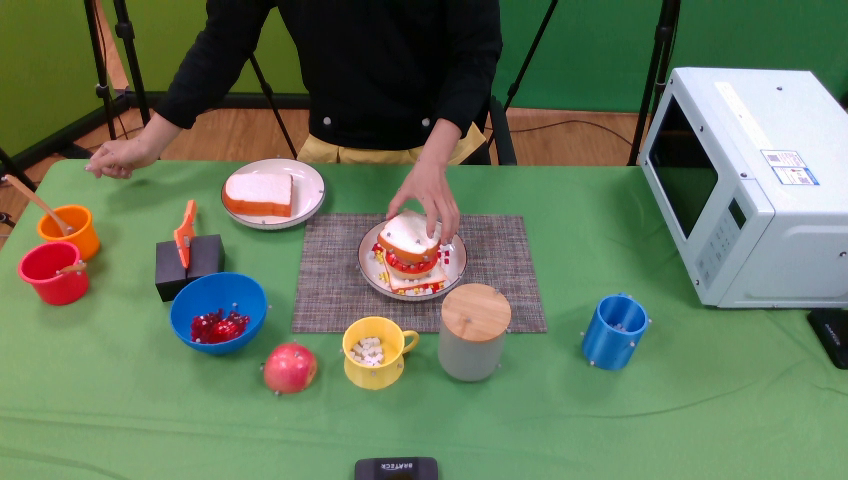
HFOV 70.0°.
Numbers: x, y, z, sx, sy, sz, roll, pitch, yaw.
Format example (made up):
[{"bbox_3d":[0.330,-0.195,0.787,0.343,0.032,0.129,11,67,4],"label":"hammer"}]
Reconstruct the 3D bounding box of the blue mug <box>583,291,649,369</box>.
[{"bbox_3d":[0.324,0.142,1.023,0.082,0.106,0.116,15,47,11],"label":"blue mug"}]

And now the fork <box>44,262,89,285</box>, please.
[{"bbox_3d":[-0.598,0.054,1.014,0.207,0.019,0.028,-15,28,45],"label":"fork"}]

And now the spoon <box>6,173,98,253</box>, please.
[{"bbox_3d":[-0.678,-0.050,1.106,0.021,0.194,0.041,-19,27,44],"label":"spoon"}]

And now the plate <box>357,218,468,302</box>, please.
[{"bbox_3d":[-0.021,0.037,1.141,0.208,0.039,0.206,2,46,-2],"label":"plate"}]

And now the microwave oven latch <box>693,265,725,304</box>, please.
[{"bbox_3d":[0.522,0.081,1.115,0.030,0.029,0.078,2,46,-1],"label":"microwave oven latch"}]

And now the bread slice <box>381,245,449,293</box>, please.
[{"bbox_3d":[-0.026,0.040,1.141,0.107,0.018,0.133,-13,48,-15],"label":"bread slice"}]

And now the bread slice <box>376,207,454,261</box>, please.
[{"bbox_3d":[-0.018,-0.011,1.065,0.104,0.019,0.131,26,36,15],"label":"bread slice"}]

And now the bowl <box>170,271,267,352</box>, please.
[{"bbox_3d":[-0.333,0.132,1.006,0.151,0.077,0.150,2,46,-2],"label":"bowl"}]

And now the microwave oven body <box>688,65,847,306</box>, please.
[{"bbox_3d":[0.669,-0.111,1.176,0.326,0.261,0.439,0,46,-3],"label":"microwave oven body"}]

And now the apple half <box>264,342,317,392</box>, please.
[{"bbox_3d":[-0.214,0.198,0.970,0.074,0.053,0.080,19,48,11],"label":"apple half"}]

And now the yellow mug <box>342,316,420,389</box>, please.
[{"bbox_3d":[-0.067,0.178,0.990,0.131,0.064,0.099,-16,50,-19],"label":"yellow mug"}]

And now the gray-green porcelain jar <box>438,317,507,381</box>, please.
[{"bbox_3d":[0.076,0.158,0.977,0.106,0.127,0.105,2,47,-2],"label":"gray-green porcelain jar"}]

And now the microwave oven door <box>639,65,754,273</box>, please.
[{"bbox_3d":[0.522,-0.147,1.192,0.039,0.245,0.353,0,47,-3],"label":"microwave oven door"}]

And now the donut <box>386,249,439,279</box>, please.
[{"bbox_3d":[-0.021,0.029,1.110,0.099,0.048,0.098,2,46,-2],"label":"donut"}]

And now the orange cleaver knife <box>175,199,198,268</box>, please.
[{"bbox_3d":[-0.438,-0.017,1.138,0.012,0.077,0.210,-14,27,-7],"label":"orange cleaver knife"}]

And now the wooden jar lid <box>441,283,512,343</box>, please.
[{"bbox_3d":[0.080,0.114,0.931,0.108,0.021,0.107,1,49,-1],"label":"wooden jar lid"}]

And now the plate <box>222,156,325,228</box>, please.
[{"bbox_3d":[-0.308,-0.095,1.251,0.209,0.038,0.208,3,46,-3],"label":"plate"}]
